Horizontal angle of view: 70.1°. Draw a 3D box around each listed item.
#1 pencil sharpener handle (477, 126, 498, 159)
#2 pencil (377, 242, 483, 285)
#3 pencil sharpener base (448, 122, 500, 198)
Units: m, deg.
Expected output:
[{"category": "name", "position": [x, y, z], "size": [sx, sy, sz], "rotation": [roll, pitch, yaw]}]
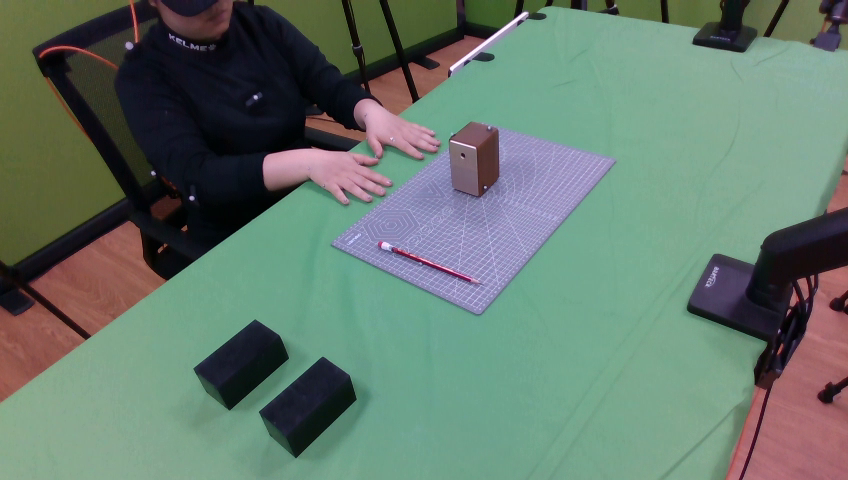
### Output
[{"category": "pencil sharpener handle", "position": [0.118, -0.179, 1.075], "size": [0.035, 0.068, 0.031], "rotation": [21, 48, 29]}, {"category": "pencil", "position": [0.006, 0.036, 0.931], "size": [0.192, 0.012, 0.012], "rotation": [20, 47, 27]}, {"category": "pencil sharpener base", "position": [0.090, -0.140, 1.052], "size": [0.061, 0.107, 0.077], "rotation": [20, 47, 30]}]
